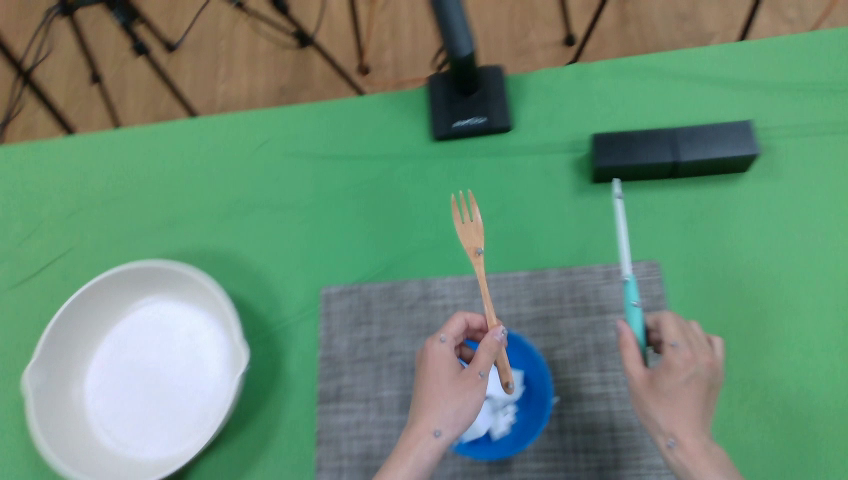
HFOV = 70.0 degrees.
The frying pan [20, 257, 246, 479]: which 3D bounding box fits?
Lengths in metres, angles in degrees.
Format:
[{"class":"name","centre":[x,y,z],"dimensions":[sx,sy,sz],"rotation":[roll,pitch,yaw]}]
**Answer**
[{"class":"frying pan","centre":[-0.364,0.258,0.743],"dimensions":[0.306,0.104,0.483],"rotation":[-6,60,8]}]

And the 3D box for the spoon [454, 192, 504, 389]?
[{"class":"spoon","centre":[0.059,0.049,0.593],"dimensions":[0.041,0.022,0.193],"rotation":[-7,83,-2]}]

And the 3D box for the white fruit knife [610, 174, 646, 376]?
[{"class":"white fruit knife","centre":[0.200,0.038,0.601],"dimensions":[0.016,0.027,0.207],"rotation":[-9,96,-3]}]

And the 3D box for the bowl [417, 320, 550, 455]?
[{"class":"bowl","centre":[0.072,0.177,0.714],"dimensions":[0.151,0.077,0.150],"rotation":[-3,69,8]}]
